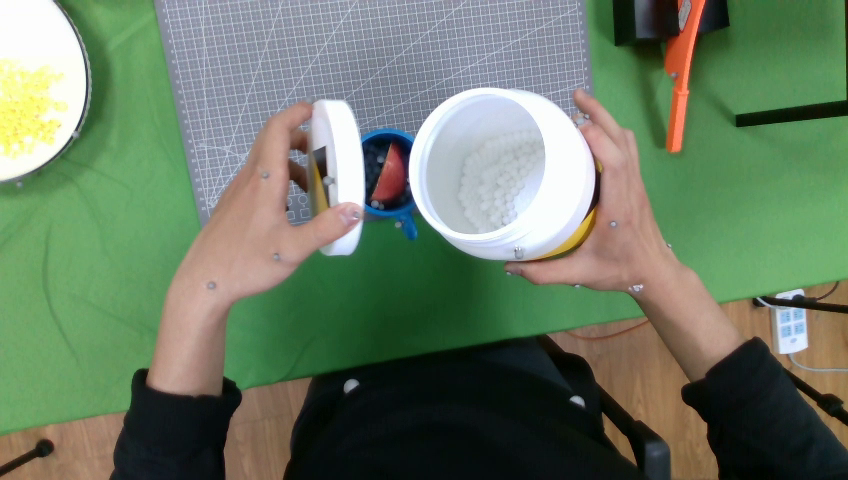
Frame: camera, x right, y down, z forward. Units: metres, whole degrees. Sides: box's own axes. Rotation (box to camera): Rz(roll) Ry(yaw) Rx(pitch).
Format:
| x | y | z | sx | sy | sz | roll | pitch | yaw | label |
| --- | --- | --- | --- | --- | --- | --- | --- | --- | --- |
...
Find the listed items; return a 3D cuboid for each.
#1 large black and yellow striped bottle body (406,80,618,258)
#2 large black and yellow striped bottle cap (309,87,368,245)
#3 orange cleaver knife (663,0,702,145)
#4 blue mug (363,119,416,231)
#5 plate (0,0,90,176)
| x | y | z | sx | sy | sz | roll | pitch | yaw | label |
| --- | --- | --- | --- | --- | --- | --- | --- | --- | --- |
| 0.077 | -0.052 | 0.497 | 0.130 | 0.185 | 0.130 | -2 | 86 | 28 | large black and yellow striped bottle body |
| -0.065 | -0.053 | 0.441 | 0.019 | 0.114 | 0.115 | -4 | 99 | -20 | large black and yellow striped bottle cap |
| 0.278 | -0.209 | 0.661 | 0.012 | 0.076 | 0.213 | -7 | 126 | 1 | orange cleaver knife |
| -0.036 | -0.063 | 0.618 | 0.082 | 0.105 | 0.117 | -25 | 101 | -5 | blue mug |
| -0.426 | -0.165 | 0.576 | 0.209 | 0.038 | 0.209 | -1 | 99 | -9 | plate |
